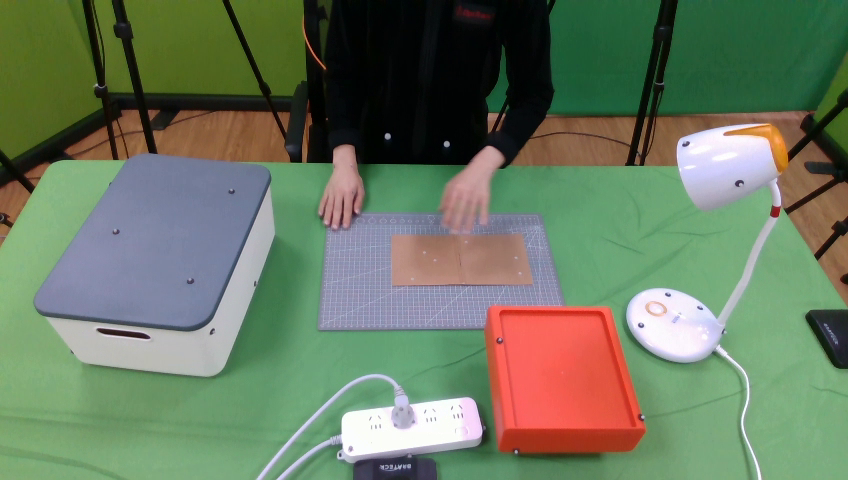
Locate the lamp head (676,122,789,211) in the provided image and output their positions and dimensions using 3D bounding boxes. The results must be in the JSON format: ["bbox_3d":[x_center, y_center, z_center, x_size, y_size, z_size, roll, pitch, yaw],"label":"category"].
[{"bbox_3d":[0.423,-0.104,0.819,0.122,0.113,0.112,-13,33,40],"label":"lamp head"}]

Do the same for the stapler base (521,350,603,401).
[{"bbox_3d":[0.217,0.203,0.942,0.130,0.024,0.041,26,33,16],"label":"stapler base"}]

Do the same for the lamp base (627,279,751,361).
[{"bbox_3d":[0.460,0.100,1.027,0.178,0.181,0.160,27,51,17],"label":"lamp base"}]

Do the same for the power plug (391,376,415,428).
[{"bbox_3d":[-0.031,0.249,0.917,0.035,0.053,0.072,3,46,-1],"label":"power plug"}]

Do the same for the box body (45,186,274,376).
[{"bbox_3d":[-0.421,0.037,1.031,0.254,0.161,0.362,6,46,1],"label":"box body"}]

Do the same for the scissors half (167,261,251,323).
[{"bbox_3d":[-0.383,0.091,1.081,0.040,0.013,0.175,24,51,32],"label":"scissors half"}]

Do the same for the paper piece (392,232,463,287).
[{"bbox_3d":[0.006,0.036,1.170,0.135,0.004,0.135,3,46,-3],"label":"paper piece"}]

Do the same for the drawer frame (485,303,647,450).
[{"bbox_3d":[0.204,0.202,0.917,0.202,0.083,0.212,1,47,-4],"label":"drawer frame"}]

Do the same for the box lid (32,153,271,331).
[{"bbox_3d":[-0.417,-0.015,0.980,0.263,0.015,0.369,6,46,1],"label":"box lid"}]

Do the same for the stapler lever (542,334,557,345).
[{"bbox_3d":[0.225,0.181,0.928,0.118,0.040,0.027,27,34,15],"label":"stapler lever"}]

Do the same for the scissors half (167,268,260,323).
[{"bbox_3d":[-0.369,0.100,1.069,0.175,0.013,0.040,-29,50,-21],"label":"scissors half"}]

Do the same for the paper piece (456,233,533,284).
[{"bbox_3d":[0.136,0.035,1.182,0.136,0.009,0.137,2,45,-6],"label":"paper piece"}]

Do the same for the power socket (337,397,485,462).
[{"bbox_3d":[-0.018,0.285,0.915,0.227,0.033,0.071,-4,46,-8],"label":"power socket"}]

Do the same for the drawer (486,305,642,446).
[{"bbox_3d":[0.202,0.200,0.919,0.195,0.073,0.210,2,47,-4],"label":"drawer"}]
